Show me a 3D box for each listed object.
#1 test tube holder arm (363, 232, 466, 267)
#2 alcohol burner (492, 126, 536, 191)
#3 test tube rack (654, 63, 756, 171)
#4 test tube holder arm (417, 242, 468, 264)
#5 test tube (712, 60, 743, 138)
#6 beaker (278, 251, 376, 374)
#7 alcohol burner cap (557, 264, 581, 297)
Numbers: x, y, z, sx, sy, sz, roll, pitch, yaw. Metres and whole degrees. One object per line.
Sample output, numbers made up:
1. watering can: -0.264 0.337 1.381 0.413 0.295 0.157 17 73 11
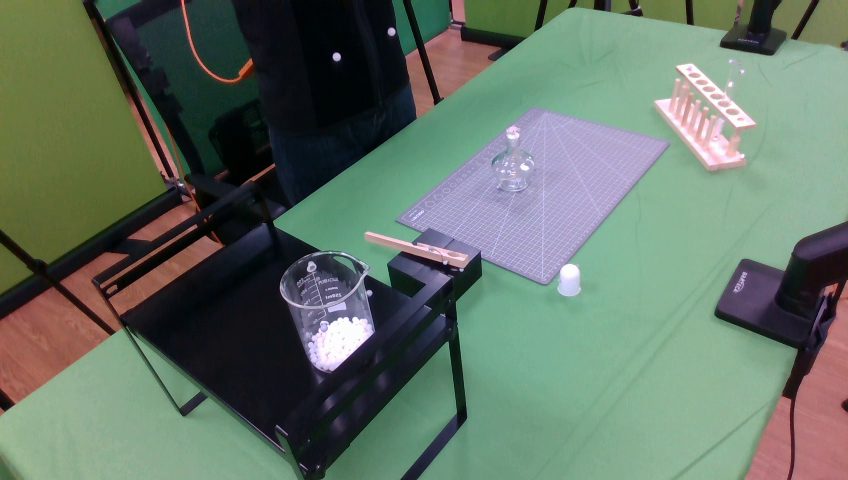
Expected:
1. test tube holder arm: -0.018 0.012 0.891 0.177 0.015 0.013 13 28 28
2. alcohol burner: 0.155 -0.146 1.046 0.078 0.119 0.077 -4 43 4
3. test tube rack: 0.510 -0.233 1.120 0.067 0.085 0.241 -8 41 -1
4. test tube holder arm: 0.024 0.019 0.874 0.087 0.015 0.010 14 28 29
5. test tube: 0.527 -0.242 1.052 0.017 0.151 0.017 -3 44 3
6. beaker: -0.084 0.070 0.570 0.084 0.101 0.073 -18 42 -13
7. alcohol burner cap: 0.208 0.055 0.866 0.034 0.048 0.033 -4 41 4
